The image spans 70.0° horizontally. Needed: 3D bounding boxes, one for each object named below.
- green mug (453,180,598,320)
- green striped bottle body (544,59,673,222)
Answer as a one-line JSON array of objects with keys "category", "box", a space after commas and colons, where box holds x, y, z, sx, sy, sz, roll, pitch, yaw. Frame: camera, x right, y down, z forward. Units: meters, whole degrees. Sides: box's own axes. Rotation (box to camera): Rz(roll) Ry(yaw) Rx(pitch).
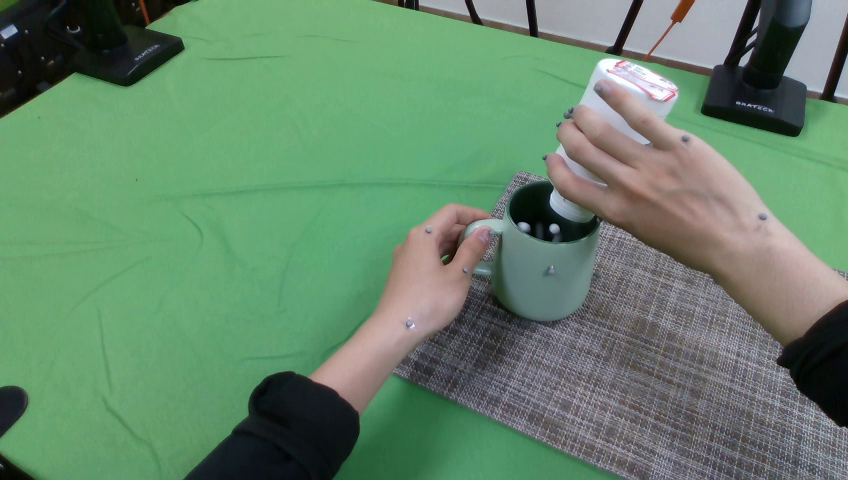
[{"category": "green mug", "box": [0.089, 0.011, 0.542, 0.125, 0.106, 0.091, 0, 47, 1]}, {"category": "green striped bottle body", "box": [0.136, -0.073, 0.472, 0.063, 0.120, 0.062, 13, 35, -9]}]
